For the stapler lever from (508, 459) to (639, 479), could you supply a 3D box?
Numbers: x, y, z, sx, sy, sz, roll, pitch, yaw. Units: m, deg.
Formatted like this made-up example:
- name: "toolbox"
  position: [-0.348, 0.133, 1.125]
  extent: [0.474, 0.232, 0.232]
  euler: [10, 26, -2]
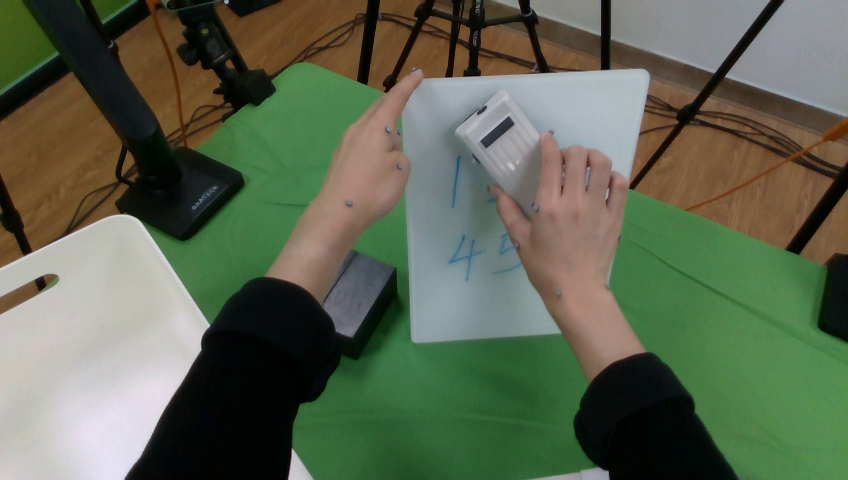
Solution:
- name: "stapler lever"
  position: [0.138, 0.223, 0.557]
  extent: [0.118, 0.040, 0.026]
  euler: [-5, 51, -2]

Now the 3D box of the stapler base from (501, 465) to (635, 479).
- name: "stapler base"
  position: [0.140, 0.238, 0.578]
  extent: [0.130, 0.024, 0.041]
  euler: [-5, 52, -2]

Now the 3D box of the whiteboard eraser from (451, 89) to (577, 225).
- name: "whiteboard eraser"
  position: [0.078, -0.071, 0.524]
  extent: [0.055, 0.113, 0.041]
  euler: [-41, 18, 6]

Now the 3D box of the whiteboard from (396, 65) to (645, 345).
- name: "whiteboard"
  position: [0.082, -0.054, 0.653]
  extent: [0.217, 0.308, 0.142]
  euler: [-3, 35, -3]

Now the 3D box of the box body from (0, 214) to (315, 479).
- name: "box body"
  position: [-0.272, 0.188, 0.517]
  extent: [0.254, 0.162, 0.360]
  euler: [-33, 61, -23]
